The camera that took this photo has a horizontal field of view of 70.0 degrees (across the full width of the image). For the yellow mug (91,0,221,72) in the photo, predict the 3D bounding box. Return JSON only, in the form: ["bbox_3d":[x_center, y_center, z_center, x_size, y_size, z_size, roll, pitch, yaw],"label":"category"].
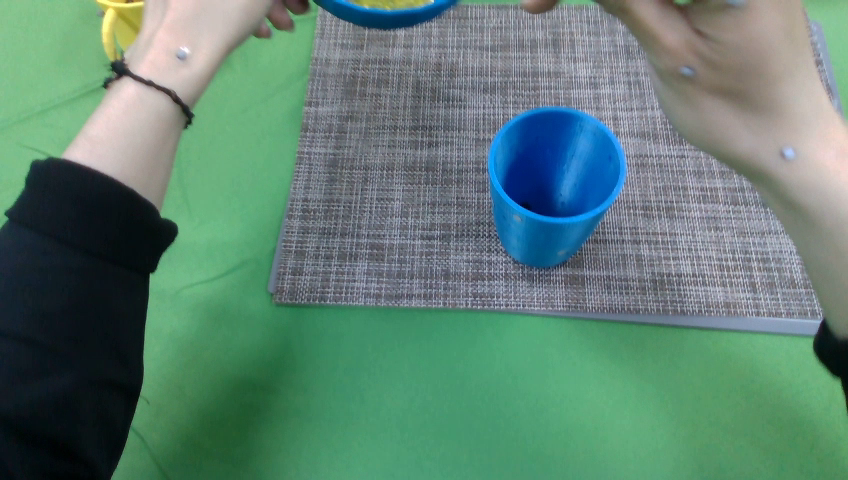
[{"bbox_3d":[-0.248,-0.208,0.538,0.100,0.064,0.130,13,66,9],"label":"yellow mug"}]

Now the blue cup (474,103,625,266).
[{"bbox_3d":[0.084,-0.028,0.418,0.092,0.101,0.092,-1,64,3],"label":"blue cup"}]

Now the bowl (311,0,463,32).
[{"bbox_3d":[-0.029,-0.204,0.420,0.151,0.077,0.151,1,80,-7],"label":"bowl"}]
